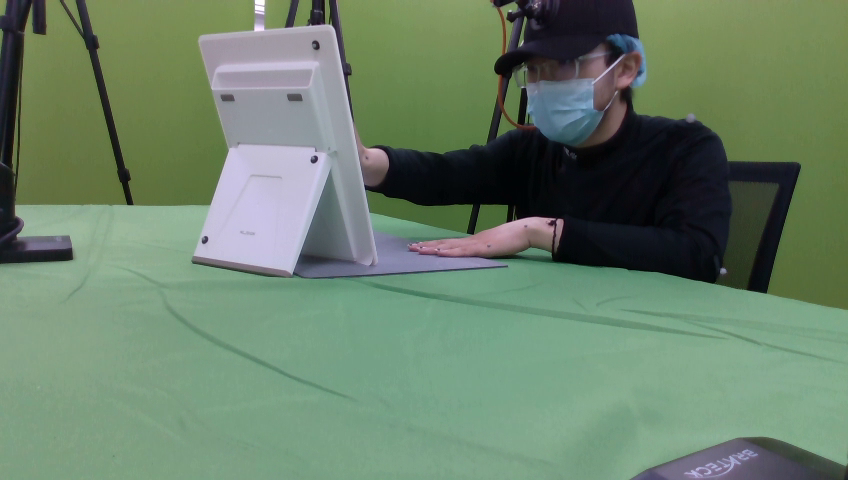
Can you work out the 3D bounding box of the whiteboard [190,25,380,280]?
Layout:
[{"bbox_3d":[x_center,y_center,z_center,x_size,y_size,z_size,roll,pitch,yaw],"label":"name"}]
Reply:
[{"bbox_3d":[-0.206,-0.085,0.732,0.216,0.305,0.144,7,30,30],"label":"whiteboard"}]

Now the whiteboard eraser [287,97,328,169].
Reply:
[{"bbox_3d":[-0.157,-0.138,0.803,0.042,0.055,0.112,-33,-8,-20],"label":"whiteboard eraser"}]
